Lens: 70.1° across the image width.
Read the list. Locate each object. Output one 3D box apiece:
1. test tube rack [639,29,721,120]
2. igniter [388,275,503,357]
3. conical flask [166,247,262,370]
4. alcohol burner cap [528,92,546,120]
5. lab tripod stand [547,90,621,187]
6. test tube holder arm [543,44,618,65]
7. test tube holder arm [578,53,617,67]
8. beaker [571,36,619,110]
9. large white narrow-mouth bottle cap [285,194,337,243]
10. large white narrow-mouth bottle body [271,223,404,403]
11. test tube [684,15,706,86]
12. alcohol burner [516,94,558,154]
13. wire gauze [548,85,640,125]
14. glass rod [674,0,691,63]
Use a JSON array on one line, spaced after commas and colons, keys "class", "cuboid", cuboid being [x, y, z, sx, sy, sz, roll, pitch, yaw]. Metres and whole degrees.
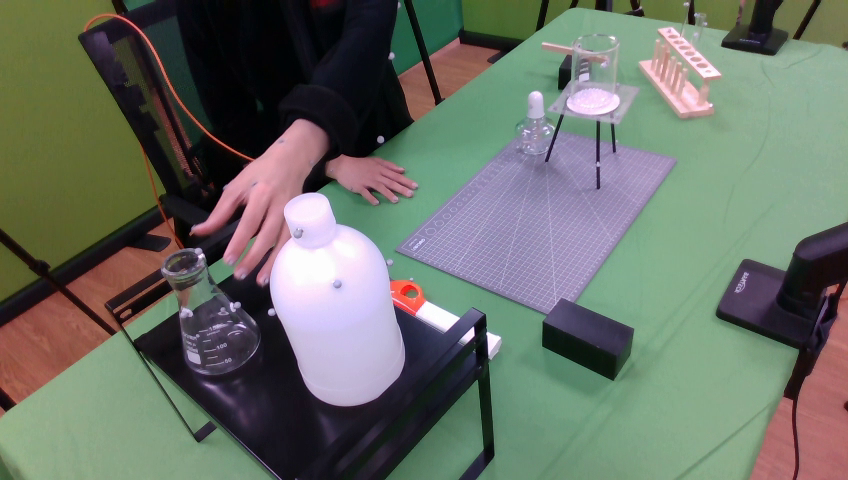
[{"class": "test tube rack", "cuboid": [0.527, -0.351, 1.262, 0.067, 0.085, 0.241, -8, 40, 1]}, {"class": "igniter", "cuboid": [-0.008, 0.093, 0.870, 0.274, 0.025, 0.057, 24, 60, 33]}, {"class": "conical flask", "cuboid": [-0.209, 0.064, 0.584, 0.075, 0.122, 0.075, -4, 41, 4]}, {"class": "alcohol burner cap", "cuboid": [0.206, -0.249, 1.112, 0.034, 0.048, 0.033, -6, 35, 5]}, {"class": "lab tripod stand", "cuboid": [0.289, -0.185, 1.063, 0.148, 0.132, 0.147, -6, 41, 5]}, {"class": "test tube holder arm", "cuboid": [0.344, -0.412, 1.341, 0.177, 0.015, 0.013, 25, 51, 31]}, {"class": "test tube holder arm", "cuboid": [0.376, -0.393, 1.314, 0.087, 0.015, 0.010, 26, 51, 32]}, {"class": "beaker", "cuboid": [0.281, -0.273, 0.992, 0.084, 0.101, 0.073, -24, 42, -16]}, {"class": "large white narrow-mouth bottle cap", "cuboid": [-0.087, -0.017, 0.467, 0.038, 0.024, 0.037, -4, 40, 4]}, {"class": "large white narrow-mouth bottle body", "cuboid": [-0.077, 0.048, 0.525, 0.102, 0.195, 0.101, -5, 40, 4]}, {"class": "test tube", "cuboid": [0.541, -0.378, 1.216, 0.017, 0.151, 0.017, -2, 44, 3]}, {"class": "alcohol burner", "cuboid": [0.212, -0.222, 1.134, 0.078, 0.119, 0.077, -5, 43, 5]}, {"class": "wire gauze", "cuboid": [0.286, -0.233, 1.020, 0.124, 0.011, 0.122, 15, 43, 30]}, {"class": "glass rod", "cuboid": [0.537, -0.437, 1.257, 0.008, 0.200, 0.008, 0, 39, 1]}]
